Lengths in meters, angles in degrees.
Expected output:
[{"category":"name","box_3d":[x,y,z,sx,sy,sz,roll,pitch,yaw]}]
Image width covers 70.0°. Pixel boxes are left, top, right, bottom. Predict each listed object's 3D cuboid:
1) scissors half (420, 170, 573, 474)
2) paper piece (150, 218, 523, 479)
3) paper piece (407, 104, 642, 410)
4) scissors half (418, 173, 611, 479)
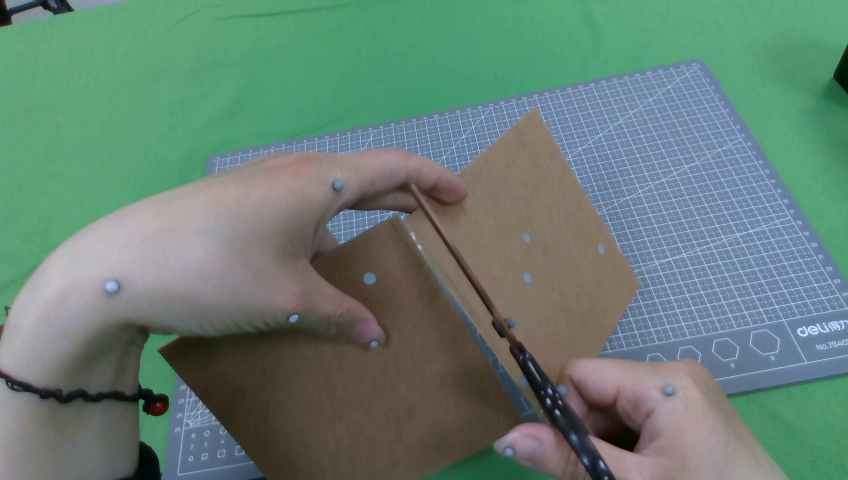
[{"category":"scissors half","box_3d":[0.041,0.045,0.271,0.013,0.176,0.040,-29,16,3]},{"category":"paper piece","box_3d":[-0.038,0.075,0.308,0.138,0.137,0.008,-30,20,4]},{"category":"paper piece","box_3d":[0.068,0.009,0.336,0.004,0.136,0.135,-20,18,50]},{"category":"scissors half","box_3d":[0.042,0.048,0.251,0.013,0.040,0.175,-30,89,-3]}]
